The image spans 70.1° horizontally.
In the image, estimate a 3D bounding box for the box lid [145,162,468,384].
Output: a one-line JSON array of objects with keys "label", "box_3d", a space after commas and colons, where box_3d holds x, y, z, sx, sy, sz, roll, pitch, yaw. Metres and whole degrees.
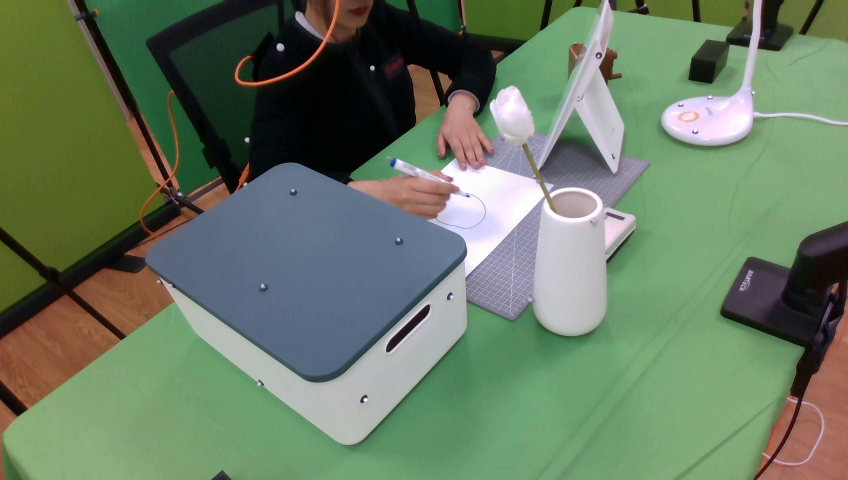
[{"label": "box lid", "box_3d": [-0.157, 0.014, 0.769, 0.368, 0.015, 0.264, 25, 51, 33]}]

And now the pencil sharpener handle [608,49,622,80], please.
[{"label": "pencil sharpener handle", "box_3d": [0.394, -0.367, 1.253, 0.030, 0.068, 0.036, -8, 32, 1]}]

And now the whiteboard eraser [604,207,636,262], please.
[{"label": "whiteboard eraser", "box_3d": [0.272, -0.003, 0.919, 0.055, 0.042, 0.113, 27, 51, 32]}]

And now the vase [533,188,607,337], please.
[{"label": "vase", "box_3d": [0.187, 0.033, 0.771, 0.098, 0.201, 0.097, -6, 41, 6]}]

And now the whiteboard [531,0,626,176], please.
[{"label": "whiteboard", "box_3d": [0.320, -0.259, 1.050, 0.144, 0.306, 0.217, 22, 46, 6]}]

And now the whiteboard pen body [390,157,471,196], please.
[{"label": "whiteboard pen body", "box_3d": [0.012, -0.096, 0.936, 0.142, 0.017, 0.017, 21, 36, -20]}]

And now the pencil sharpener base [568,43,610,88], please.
[{"label": "pencil sharpener base", "box_3d": [0.345, -0.352, 1.263, 0.077, 0.107, 0.061, -8, 40, 1]}]

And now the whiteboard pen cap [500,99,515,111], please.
[{"label": "whiteboard pen cap", "box_3d": [0.177, -0.287, 1.290, 0.033, 0.018, 0.018, -37, 47, -26]}]

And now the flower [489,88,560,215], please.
[{"label": "flower", "box_3d": [0.158, -0.027, 0.720, 0.038, 0.364, 0.044, -14, 44, 23]}]

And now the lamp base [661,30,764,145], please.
[{"label": "lamp base", "box_3d": [0.535, -0.287, 1.096, 0.179, 0.181, 0.159, -10, 40, -4]}]

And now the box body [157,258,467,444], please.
[{"label": "box body", "box_3d": [-0.147, 0.071, 0.816, 0.361, 0.161, 0.255, 24, 50, 33]}]
